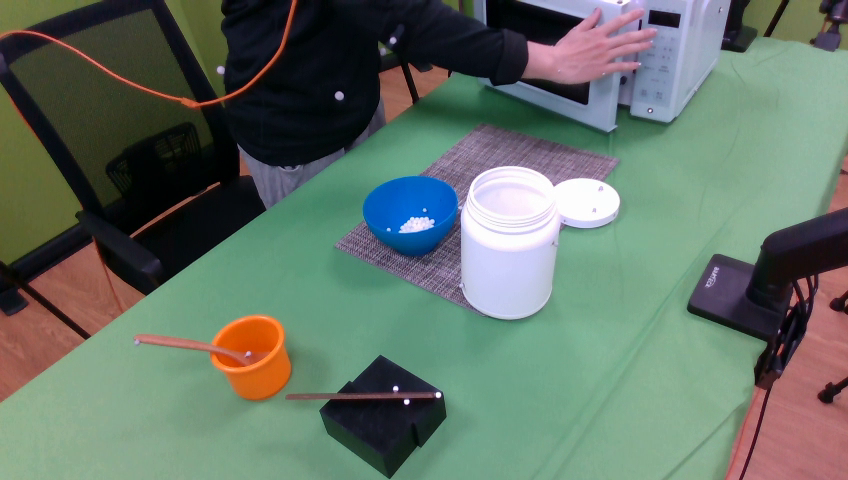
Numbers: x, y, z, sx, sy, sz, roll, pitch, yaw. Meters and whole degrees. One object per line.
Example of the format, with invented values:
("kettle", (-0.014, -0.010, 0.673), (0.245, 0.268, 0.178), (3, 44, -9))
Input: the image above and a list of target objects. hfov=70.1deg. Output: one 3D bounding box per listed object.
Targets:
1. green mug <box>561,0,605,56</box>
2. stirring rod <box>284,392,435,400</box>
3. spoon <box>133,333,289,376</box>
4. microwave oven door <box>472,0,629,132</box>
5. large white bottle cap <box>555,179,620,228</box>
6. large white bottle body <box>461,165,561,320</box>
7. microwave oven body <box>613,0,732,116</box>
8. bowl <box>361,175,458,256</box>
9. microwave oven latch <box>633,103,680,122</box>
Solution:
("green mug", (0.336, -0.450, 1.292), (0.092, 0.105, 0.125), (7, 50, 22))
("stirring rod", (-0.075, 0.180, 0.698), (0.176, 0.006, 0.014), (-2, 6, 7))
("spoon", (-0.257, 0.137, 0.747), (0.021, 0.195, 0.041), (-47, 40, 23))
("microwave oven door", (0.233, -0.377, 1.180), (0.039, 0.245, 0.352), (-34, 47, -28))
("large white bottle cap", (0.265, -0.062, 1.001), (0.115, 0.018, 0.114), (-4, 41, 4))
("large white bottle body", (0.115, 0.004, 0.816), (0.130, 0.185, 0.130), (-2, 43, 2))
("microwave oven body", (0.377, -0.463, 1.267), (0.438, 0.261, 0.327), (21, 48, 30))
("bowl", (-0.019, -0.028, 0.955), (0.151, 0.077, 0.150), (-4, 40, 4))
("microwave oven latch", (0.443, -0.249, 1.157), (0.078, 0.029, 0.030), (21, 48, 30))
